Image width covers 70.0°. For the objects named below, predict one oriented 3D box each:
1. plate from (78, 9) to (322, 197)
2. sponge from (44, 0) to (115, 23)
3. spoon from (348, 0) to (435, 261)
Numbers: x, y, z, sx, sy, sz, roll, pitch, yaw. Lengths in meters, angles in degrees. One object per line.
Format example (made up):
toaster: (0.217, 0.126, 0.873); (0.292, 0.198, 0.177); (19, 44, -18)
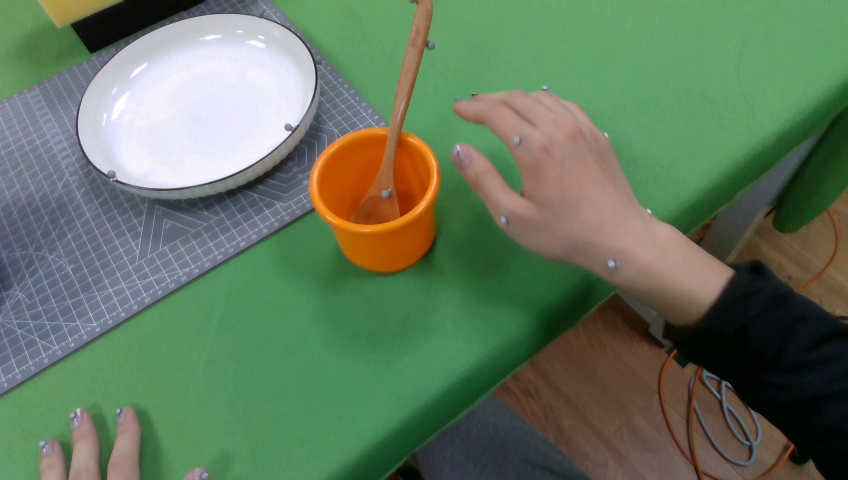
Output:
plate: (-0.191, -0.120, 0.533); (0.209, 0.038, 0.207); (-2, 60, 3)
sponge: (-0.283, -0.304, 0.582); (0.207, 0.061, 0.117); (-31, 62, -14)
spoon: (-0.019, -0.076, 0.435); (0.041, 0.194, 0.021); (19, 18, 15)
